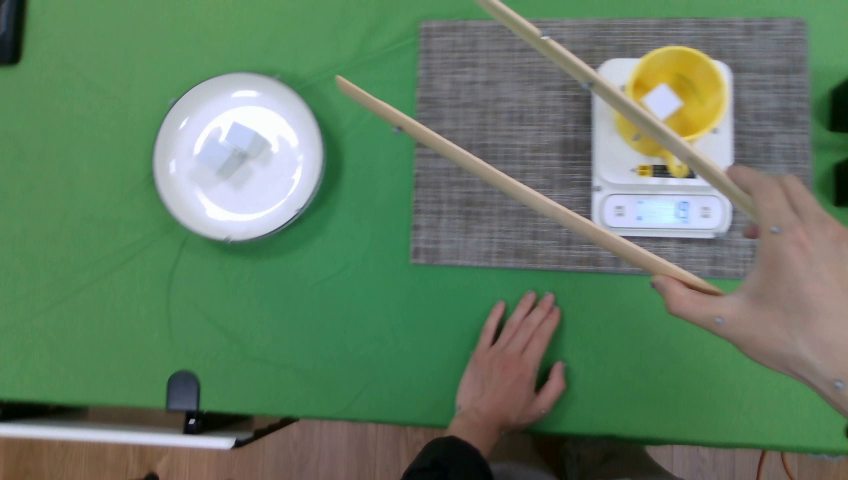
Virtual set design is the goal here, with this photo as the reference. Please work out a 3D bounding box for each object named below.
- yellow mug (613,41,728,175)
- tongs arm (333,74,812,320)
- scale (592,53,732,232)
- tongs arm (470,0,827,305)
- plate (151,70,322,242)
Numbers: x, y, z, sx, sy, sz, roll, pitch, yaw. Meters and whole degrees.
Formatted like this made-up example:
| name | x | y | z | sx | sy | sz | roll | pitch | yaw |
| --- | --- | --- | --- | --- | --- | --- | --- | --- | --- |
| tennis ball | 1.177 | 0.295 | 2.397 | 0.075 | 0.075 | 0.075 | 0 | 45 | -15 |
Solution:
| name | x | y | z | sx | sy | sz | roll | pitch | yaw |
| --- | --- | --- | --- | --- | --- | --- | --- | --- | --- |
| yellow mug | 0.259 | -0.134 | 0.639 | 0.100 | 0.064 | 0.130 | -9 | 85 | 4 |
| tongs arm | 0.083 | -0.041 | 0.449 | 0.385 | 0.028 | 0.028 | 31 | 76 | 19 |
| scale | 0.267 | -0.111 | 0.683 | 0.148 | 0.031 | 0.200 | 1 | 85 | 6 |
| tongs arm | 0.131 | -0.096 | 0.456 | 0.051 | 0.027 | 0.382 | -45 | 69 | -6 |
| plate | -0.223 | -0.099 | 0.733 | 0.207 | 0.039 | 0.207 | -1 | 84 | 5 |
